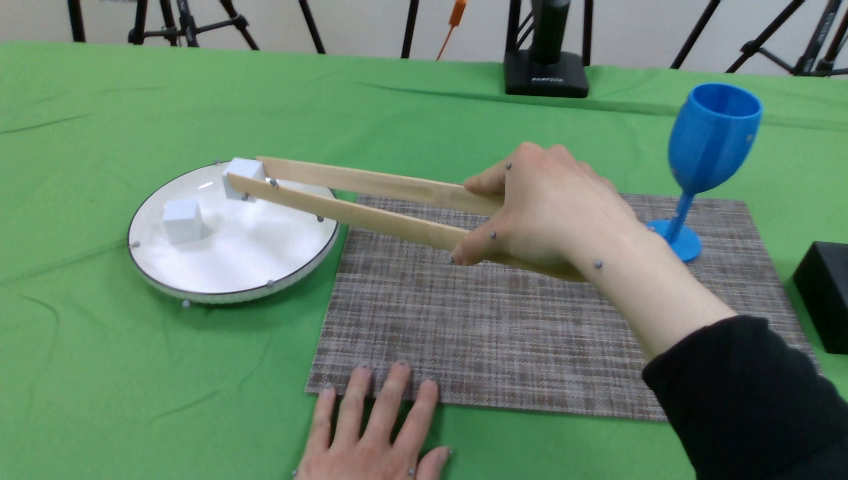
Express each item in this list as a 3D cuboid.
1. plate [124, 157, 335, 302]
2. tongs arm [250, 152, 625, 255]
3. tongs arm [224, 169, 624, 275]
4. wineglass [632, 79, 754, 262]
[{"bbox_3d":[-0.196,-0.012,0.629,0.209,0.038,0.207,1,43,-1],"label":"plate"},{"bbox_3d":[-0.015,-0.043,0.527,0.385,0.028,0.028,13,38,30],"label":"tongs arm"},{"bbox_3d":[-0.028,-0.029,0.511,0.382,0.027,0.050,16,43,33],"label":"tongs arm"},{"bbox_3d":[0.259,-0.065,0.596,0.074,0.174,0.073,1,44,0],"label":"wineglass"}]
